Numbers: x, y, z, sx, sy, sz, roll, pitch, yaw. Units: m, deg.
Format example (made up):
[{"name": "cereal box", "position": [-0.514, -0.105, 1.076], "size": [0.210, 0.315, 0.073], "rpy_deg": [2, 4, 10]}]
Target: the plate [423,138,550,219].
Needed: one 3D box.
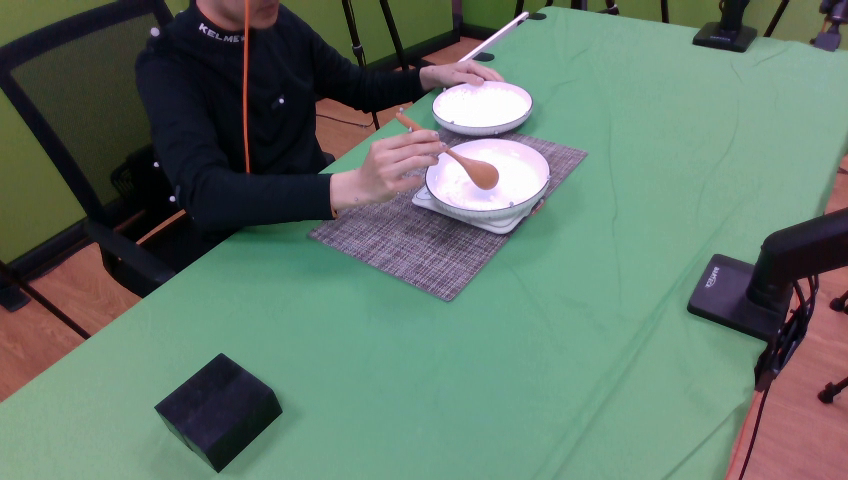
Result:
[{"name": "plate", "position": [0.104, -0.099, 1.005], "size": [0.207, 0.039, 0.206], "rpy_deg": [-4, 41, 4]}]

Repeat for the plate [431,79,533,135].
[{"name": "plate", "position": [0.120, -0.271, 1.250], "size": [0.209, 0.038, 0.208], "rpy_deg": [-4, 39, 3]}]

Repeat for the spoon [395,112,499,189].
[{"name": "spoon", "position": [0.036, -0.135, 0.910], "size": [0.195, 0.041, 0.021], "rpy_deg": [31, 8, -17]}]

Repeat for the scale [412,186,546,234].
[{"name": "scale", "position": [0.093, -0.083, 1.039], "size": [0.199, 0.032, 0.149], "rpy_deg": [22, 48, 30]}]
